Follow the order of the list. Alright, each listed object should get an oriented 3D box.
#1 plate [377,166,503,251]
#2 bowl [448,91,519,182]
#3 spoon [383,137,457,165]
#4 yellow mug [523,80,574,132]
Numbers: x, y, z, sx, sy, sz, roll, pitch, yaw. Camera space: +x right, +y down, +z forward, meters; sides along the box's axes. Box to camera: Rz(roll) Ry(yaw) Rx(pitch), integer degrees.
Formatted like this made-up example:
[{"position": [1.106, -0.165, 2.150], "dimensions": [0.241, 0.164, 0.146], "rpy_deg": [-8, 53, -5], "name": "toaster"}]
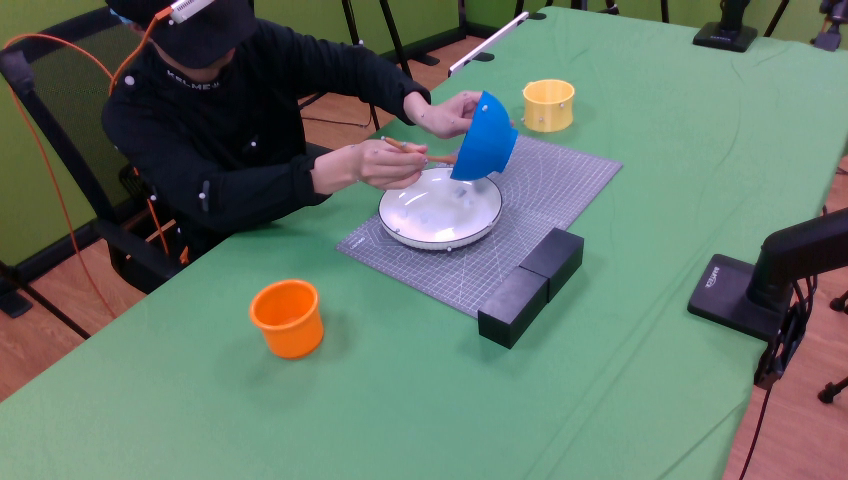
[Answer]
[{"position": [0.027, -0.050, 1.007], "dimensions": [0.209, 0.038, 0.208], "rpy_deg": [-4, 41, 4], "name": "plate"}, {"position": [0.102, -0.155, 0.971], "dimensions": [0.077, 0.151, 0.151], "rpy_deg": [21, 44, -1], "name": "bowl"}, {"position": [0.009, -0.127, 0.929], "dimensions": [0.195, 0.021, 0.041], "rpy_deg": [7, 28, -46], "name": "spoon"}, {"position": [0.242, -0.278, 1.224], "dimensions": [0.100, 0.064, 0.129], "rpy_deg": [-24, 42, -18], "name": "yellow mug"}]
